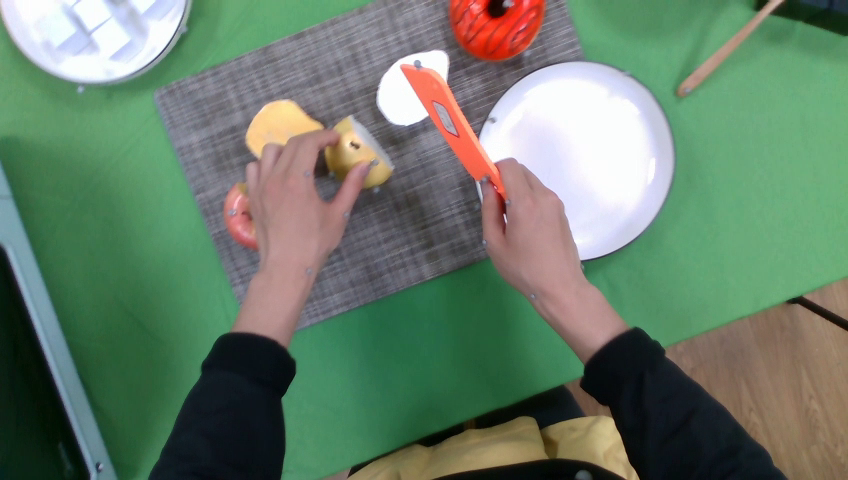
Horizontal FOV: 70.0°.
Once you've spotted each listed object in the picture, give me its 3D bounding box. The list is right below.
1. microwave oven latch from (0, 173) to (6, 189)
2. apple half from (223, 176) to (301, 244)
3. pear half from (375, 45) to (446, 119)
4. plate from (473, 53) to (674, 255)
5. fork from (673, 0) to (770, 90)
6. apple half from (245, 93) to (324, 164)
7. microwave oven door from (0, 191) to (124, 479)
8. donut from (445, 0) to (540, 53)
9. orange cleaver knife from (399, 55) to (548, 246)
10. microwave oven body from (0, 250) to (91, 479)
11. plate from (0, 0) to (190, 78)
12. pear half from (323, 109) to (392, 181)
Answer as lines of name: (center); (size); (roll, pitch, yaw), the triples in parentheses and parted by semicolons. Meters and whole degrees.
microwave oven latch: (-0.478, -0.090, 0.644); (0.030, 0.029, 0.079); (-17, 95, 2)
apple half: (-0.176, -0.025, 0.639); (0.081, 0.074, 0.053); (33, 99, -5)
pear half: (-0.009, -0.166, 0.642); (0.088, 0.031, 0.070); (-44, 84, 6)
plate: (0.155, -0.089, 0.643); (0.209, 0.038, 0.209); (0, 95, 2)
fork: (0.331, -0.231, 0.604); (0.028, 0.018, 0.208); (38, 115, -9)
apple half: (-0.150, -0.112, 0.647); (0.081, 0.033, 0.081); (3, 74, -9)
microwave oven door: (-0.415, 0.127, 0.561); (0.039, 0.243, 0.356); (-19, 94, 3)
donut: (0.070, -0.244, 0.627); (0.099, 0.048, 0.099); (0, 96, 4)
orange cleaver knife: (0.046, -0.080, 0.554); (0.012, 0.076, 0.213); (-40, 112, -7)
microwave oven body: (-0.566, 0.131, 0.570); (0.326, 0.259, 0.442); (-18, 95, 2)
plate: (-0.346, -0.275, 0.642); (0.207, 0.039, 0.208); (0, 95, 1)
pear half: (-0.074, -0.090, 0.612); (0.056, 0.110, 0.076); (-44, 88, 6)
